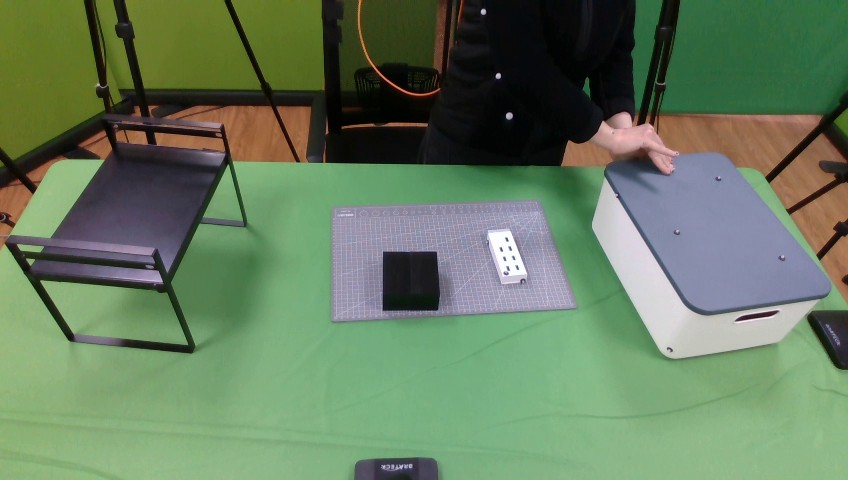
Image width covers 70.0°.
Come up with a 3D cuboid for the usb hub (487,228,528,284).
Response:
[{"bbox_3d":[0.159,0.030,1.173,0.049,0.025,0.124,-5,46,-9],"label":"usb hub"}]

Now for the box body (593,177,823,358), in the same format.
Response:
[{"bbox_3d":[0.496,0.022,1.113,0.254,0.161,0.361,-7,47,-10],"label":"box body"}]

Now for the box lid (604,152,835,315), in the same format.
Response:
[{"bbox_3d":[0.499,-0.030,1.061,0.264,0.015,0.369,-7,47,-10],"label":"box lid"}]
